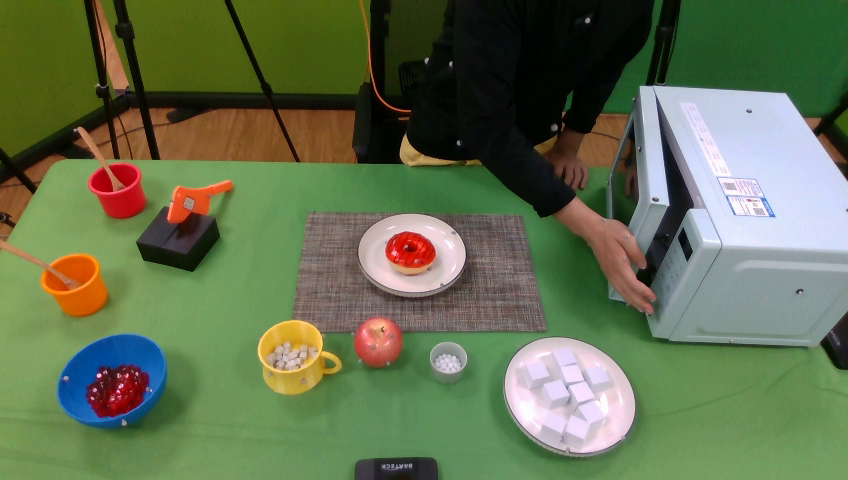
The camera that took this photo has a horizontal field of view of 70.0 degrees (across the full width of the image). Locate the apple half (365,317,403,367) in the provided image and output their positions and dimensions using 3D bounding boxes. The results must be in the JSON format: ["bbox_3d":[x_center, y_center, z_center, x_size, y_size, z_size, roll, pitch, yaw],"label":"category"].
[{"bbox_3d":[-0.063,0.165,1.000,0.053,0.075,0.080,-16,45,-24],"label":"apple half"}]

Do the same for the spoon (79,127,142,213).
[{"bbox_3d":[-0.624,-0.139,1.203,0.041,0.021,0.194,-33,101,-25],"label":"spoon"}]

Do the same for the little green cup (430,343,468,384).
[{"bbox_3d":[0.039,0.204,0.993,0.061,0.039,0.061,2,46,-2],"label":"little green cup"}]

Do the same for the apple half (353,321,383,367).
[{"bbox_3d":[-0.097,0.177,0.984,0.033,0.081,0.081,-17,49,-25],"label":"apple half"}]

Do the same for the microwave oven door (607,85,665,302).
[{"bbox_3d":[0.394,-0.097,1.142,0.039,0.245,0.354,10,46,6],"label":"microwave oven door"}]

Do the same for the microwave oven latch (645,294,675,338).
[{"bbox_3d":[0.411,0.134,1.061,0.030,0.029,0.078,3,45,0],"label":"microwave oven latch"}]

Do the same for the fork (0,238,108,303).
[{"bbox_3d":[-0.633,0.048,1.017,0.208,0.018,0.028,40,43,-27],"label":"fork"}]

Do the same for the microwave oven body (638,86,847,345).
[{"bbox_3d":[0.567,-0.053,1.118,0.326,0.261,0.439,2,45,-1],"label":"microwave oven body"}]

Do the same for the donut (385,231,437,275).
[{"bbox_3d":[-0.025,0.024,1.141,0.099,0.048,0.098,3,45,-3],"label":"donut"}]

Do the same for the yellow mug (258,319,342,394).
[{"bbox_3d":[-0.195,0.188,0.972,0.131,0.064,0.099,9,47,4],"label":"yellow mug"}]

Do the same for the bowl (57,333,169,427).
[{"bbox_3d":[-0.456,0.222,0.912,0.151,0.077,0.150,2,46,-2],"label":"bowl"}]

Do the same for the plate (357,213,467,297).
[{"bbox_3d":[-0.023,0.032,1.149,0.209,0.038,0.208,2,46,-2],"label":"plate"}]

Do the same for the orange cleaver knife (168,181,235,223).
[{"bbox_3d":[-0.436,-0.077,1.196,0.012,0.077,0.211,16,15,10],"label":"orange cleaver knife"}]

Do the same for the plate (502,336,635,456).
[{"bbox_3d":[0.225,0.248,0.963,0.208,0.039,0.206,2,46,-2],"label":"plate"}]
